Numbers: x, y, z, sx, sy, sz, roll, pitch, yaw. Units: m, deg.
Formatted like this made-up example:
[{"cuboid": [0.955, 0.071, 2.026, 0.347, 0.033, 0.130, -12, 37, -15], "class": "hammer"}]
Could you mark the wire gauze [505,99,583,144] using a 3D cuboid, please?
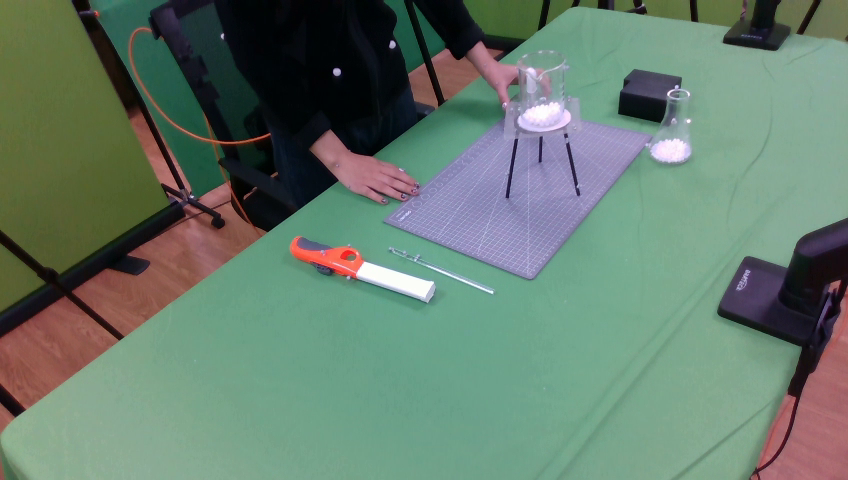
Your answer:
[{"cuboid": [0.195, -0.199, 0.988, 0.121, 0.011, 0.124, -3, 41, 13], "class": "wire gauze"}]

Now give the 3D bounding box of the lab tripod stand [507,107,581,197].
[{"cuboid": [0.201, -0.151, 1.033, 0.148, 0.132, 0.147, -7, 39, 6], "class": "lab tripod stand"}]

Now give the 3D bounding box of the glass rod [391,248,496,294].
[{"cuboid": [0.026, 0.045, 0.937, 0.198, 0.008, 0.008, 21, 49, 31], "class": "glass rod"}]

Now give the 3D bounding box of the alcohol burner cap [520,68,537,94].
[{"cuboid": [0.205, -0.313, 1.183, 0.034, 0.048, 0.033, -3, 50, 4], "class": "alcohol burner cap"}]

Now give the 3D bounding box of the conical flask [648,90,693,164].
[{"cuboid": [0.437, -0.199, 1.057, 0.075, 0.122, 0.075, -5, 40, 5], "class": "conical flask"}]

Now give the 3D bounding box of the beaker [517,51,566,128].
[{"cuboid": [0.186, -0.235, 0.957, 0.073, 0.101, 0.084, 4, 42, 18], "class": "beaker"}]

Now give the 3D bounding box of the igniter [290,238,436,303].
[{"cuboid": [-0.106, 0.044, 0.949, 0.274, 0.025, 0.057, 16, 57, 27], "class": "igniter"}]

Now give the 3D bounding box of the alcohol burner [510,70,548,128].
[{"cuboid": [0.209, -0.287, 1.208, 0.078, 0.119, 0.077, -5, 42, 5], "class": "alcohol burner"}]
